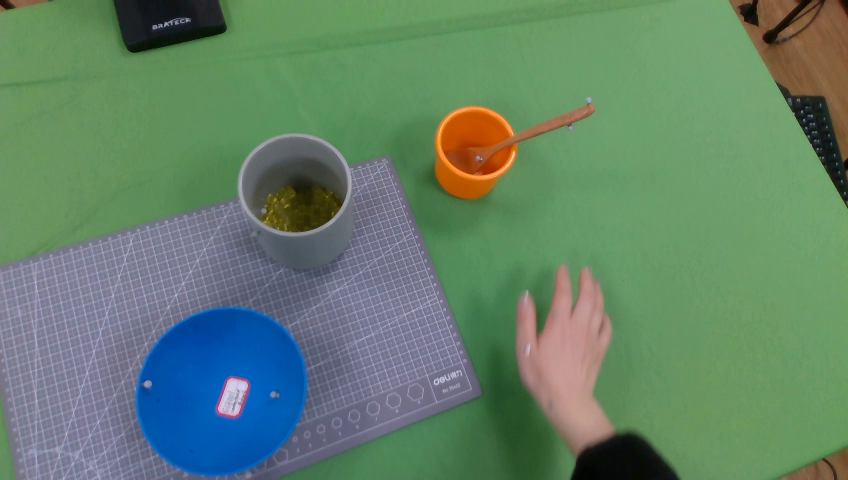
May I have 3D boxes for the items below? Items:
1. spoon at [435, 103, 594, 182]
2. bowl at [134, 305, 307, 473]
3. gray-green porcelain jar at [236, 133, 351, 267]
[{"bbox_3d":[0.093,-0.108,0.664,0.022,0.193,0.041,13,64,-50],"label":"spoon"},{"bbox_3d":[-0.186,0.144,0.582,0.152,0.077,0.150,2,72,-6],"label":"bowl"},{"bbox_3d":[-0.128,-0.034,0.621,0.106,0.127,0.105,2,71,-6],"label":"gray-green porcelain jar"}]
